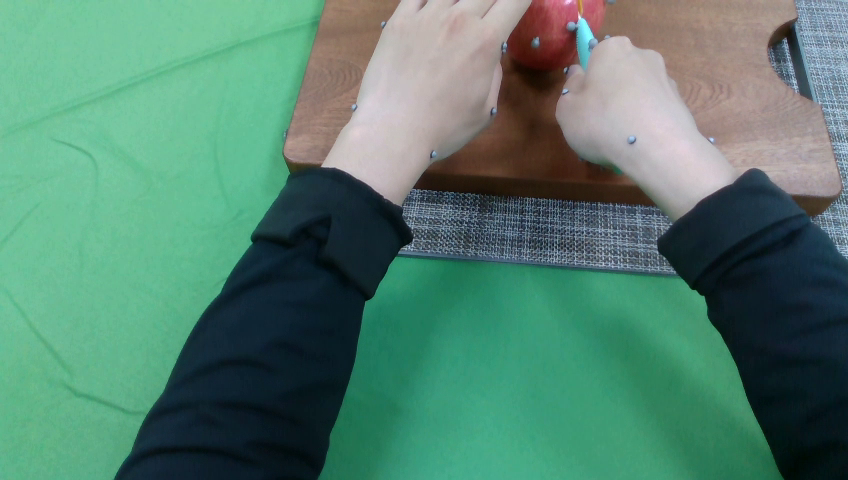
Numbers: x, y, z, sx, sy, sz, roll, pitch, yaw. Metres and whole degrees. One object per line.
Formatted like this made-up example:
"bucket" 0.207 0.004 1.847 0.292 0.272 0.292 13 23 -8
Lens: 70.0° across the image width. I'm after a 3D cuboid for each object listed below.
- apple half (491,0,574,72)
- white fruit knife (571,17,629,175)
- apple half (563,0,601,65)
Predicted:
"apple half" 0.078 -0.170 0.464 0.053 0.075 0.080 -13 64 1
"white fruit knife" 0.109 -0.142 0.432 0.016 0.027 0.205 -12 68 1
"apple half" 0.117 -0.177 0.466 0.033 0.082 0.080 -10 60 -3
